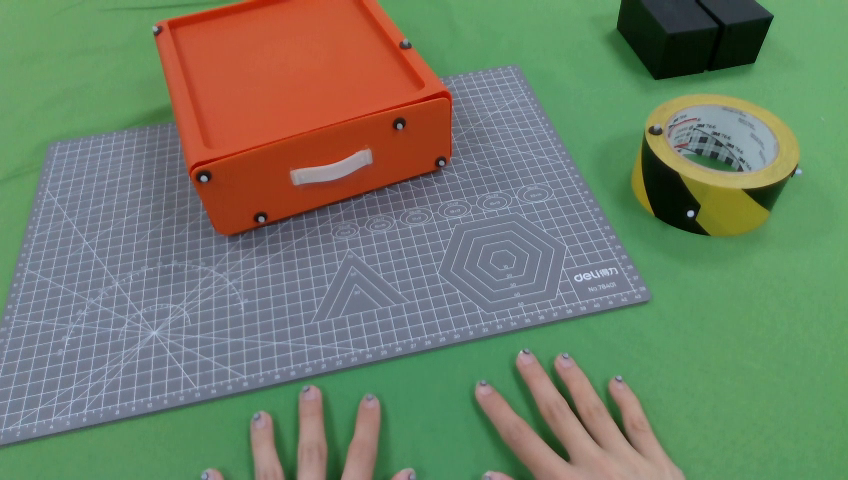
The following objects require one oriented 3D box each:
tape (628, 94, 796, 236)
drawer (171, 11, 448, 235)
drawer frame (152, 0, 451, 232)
[{"bbox_3d":[0.222,-0.062,0.475,0.117,0.053,0.115,-1,49,1],"label":"tape"},{"bbox_3d":[-0.108,-0.122,0.522,0.195,0.074,0.209,-20,51,-13],"label":"drawer"},{"bbox_3d":[-0.111,-0.127,0.524,0.202,0.083,0.211,-20,51,-14],"label":"drawer frame"}]
